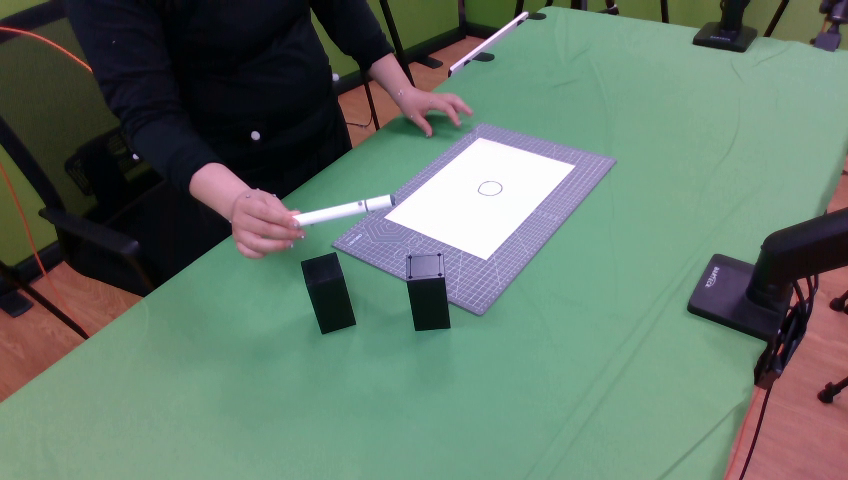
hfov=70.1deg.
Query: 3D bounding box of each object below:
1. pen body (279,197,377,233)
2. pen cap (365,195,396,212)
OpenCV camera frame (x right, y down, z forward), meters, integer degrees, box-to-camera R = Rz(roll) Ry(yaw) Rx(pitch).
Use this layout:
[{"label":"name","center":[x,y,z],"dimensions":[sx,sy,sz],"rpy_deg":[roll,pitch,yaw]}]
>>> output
[{"label":"pen body","center":[-0.117,-0.035,0.779],"dimensions":[0.144,0.017,0.017],"rpy_deg":[-16,39,6]},{"label":"pen cap","center":[-0.055,-0.048,0.772],"dimensions":[0.038,0.017,0.017],"rpy_deg":[-13,39,7]}]
